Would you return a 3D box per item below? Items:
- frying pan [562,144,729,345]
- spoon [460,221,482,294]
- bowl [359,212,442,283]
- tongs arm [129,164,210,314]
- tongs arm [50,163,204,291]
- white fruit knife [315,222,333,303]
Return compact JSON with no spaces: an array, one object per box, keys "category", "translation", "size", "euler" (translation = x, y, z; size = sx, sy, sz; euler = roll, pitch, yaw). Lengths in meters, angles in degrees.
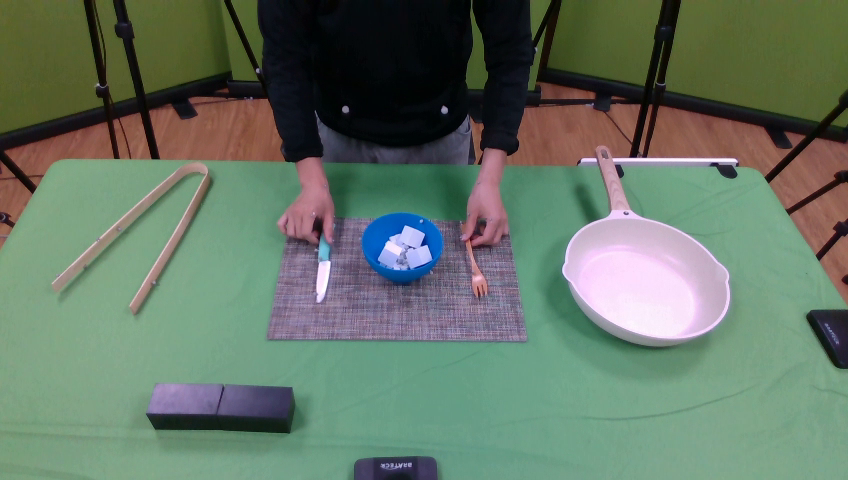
[{"category":"frying pan","translation":[0.396,-0.008,1.179],"size":[0.307,0.103,0.484],"euler":[1,55,-4]},{"category":"spoon","translation":[0.086,0.031,1.169],"size":[0.042,0.022,0.192],"euler":[8,48,-10]},{"category":"bowl","translation":[-0.044,0.026,1.125],"size":[0.151,0.077,0.150],"euler":[2,46,-2]},{"category":"tongs arm","translation":[-0.483,-0.016,1.170],"size":[0.028,0.028,0.385],"euler":[5,46,4]},{"category":"tongs arm","translation":[-0.561,-0.036,1.178],"size":[0.050,0.026,0.383],"euler":[17,46,10]},{"category":"white fruit knife","translation":[-0.192,0.038,1.142],"size":[0.027,0.016,0.206],"euler":[16,42,-17]}]
